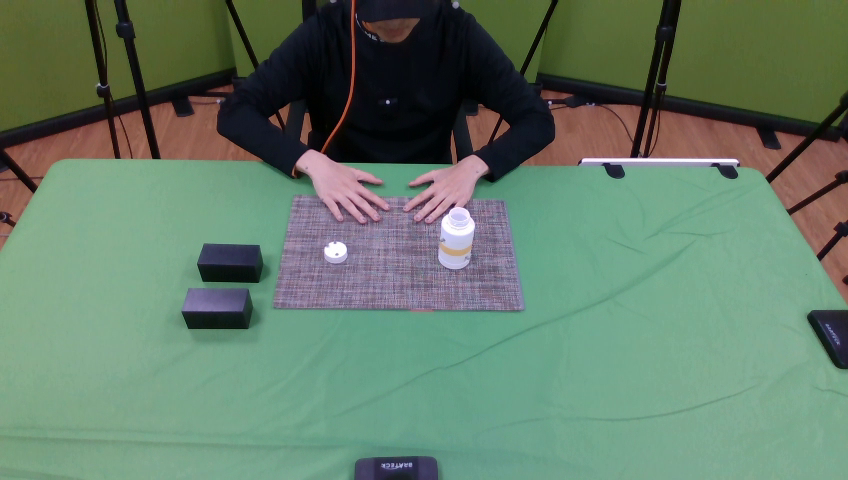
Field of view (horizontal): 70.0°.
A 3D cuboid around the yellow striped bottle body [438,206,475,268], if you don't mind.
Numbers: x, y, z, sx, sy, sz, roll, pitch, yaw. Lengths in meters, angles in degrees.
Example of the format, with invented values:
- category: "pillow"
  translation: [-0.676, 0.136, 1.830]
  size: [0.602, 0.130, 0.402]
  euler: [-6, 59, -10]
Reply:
- category: "yellow striped bottle body"
  translation: [0.061, -0.008, 1.134]
  size: [0.063, 0.121, 0.062]
  euler: [2, 47, -2]

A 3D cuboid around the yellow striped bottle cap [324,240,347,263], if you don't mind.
- category: "yellow striped bottle cap"
  translation: [-0.170, 0.022, 1.161]
  size: [0.044, 0.019, 0.044]
  euler: [1, 47, 0]
